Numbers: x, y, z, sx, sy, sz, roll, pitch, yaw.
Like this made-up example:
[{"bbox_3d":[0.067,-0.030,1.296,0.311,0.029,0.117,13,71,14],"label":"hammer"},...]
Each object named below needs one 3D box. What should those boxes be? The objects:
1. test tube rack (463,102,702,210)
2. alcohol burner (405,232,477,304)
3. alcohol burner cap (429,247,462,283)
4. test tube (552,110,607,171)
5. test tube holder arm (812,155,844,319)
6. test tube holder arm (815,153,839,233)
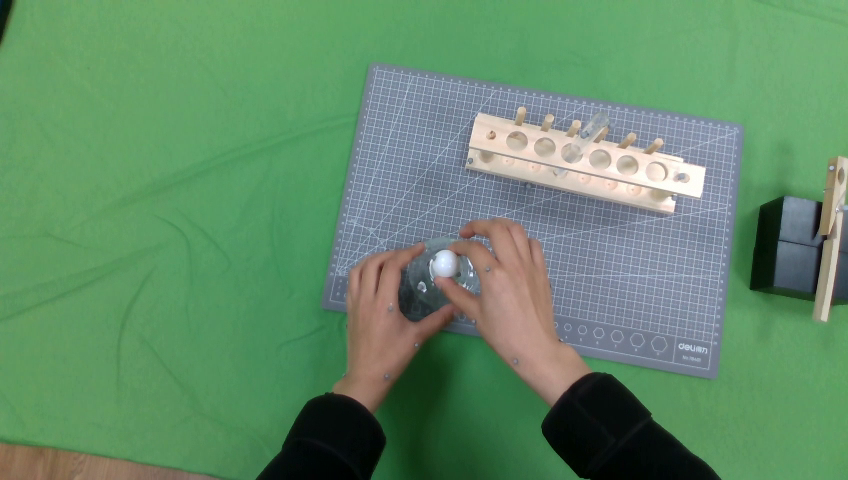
[{"bbox_3d":[0.169,-0.099,0.667,0.242,0.085,0.066,13,82,1],"label":"test tube rack"},{"bbox_3d":[0.019,0.027,0.634,0.078,0.119,0.077,0,81,-1],"label":"alcohol burner"},{"bbox_3d":[0.019,0.024,0.597,0.034,0.048,0.033,-2,78,8],"label":"alcohol burner cap"},{"bbox_3d":[0.154,-0.098,0.615,0.017,0.150,0.017,0,80,-2],"label":"test tube"},{"bbox_3d":[0.430,-0.004,0.644,0.013,0.015,0.178,10,83,-6],"label":"test tube holder arm"},{"bbox_3d":[0.432,-0.049,0.649,0.010,0.015,0.087,11,83,-5],"label":"test tube holder arm"}]
